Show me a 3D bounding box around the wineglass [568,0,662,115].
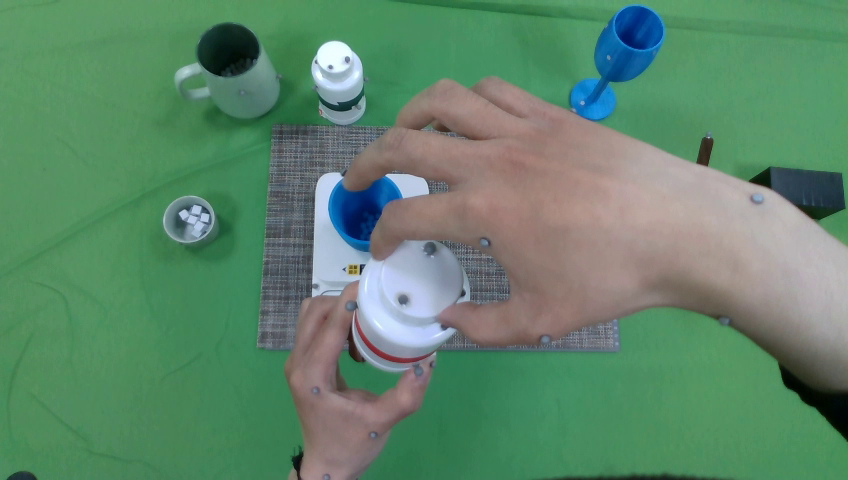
[{"bbox_3d":[0.240,-0.229,0.779,0.074,0.173,0.073,1,75,-2],"label":"wineglass"}]

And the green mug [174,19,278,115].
[{"bbox_3d":[-0.257,-0.215,0.781,0.125,0.105,0.092,-21,78,-8],"label":"green mug"}]

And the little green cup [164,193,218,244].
[{"bbox_3d":[-0.291,-0.025,0.766,0.061,0.039,0.061,1,76,-4],"label":"little green cup"}]

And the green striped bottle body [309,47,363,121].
[{"bbox_3d":[-0.112,-0.207,0.780,0.063,0.119,0.063,1,75,-3],"label":"green striped bottle body"}]

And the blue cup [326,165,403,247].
[{"bbox_3d":[-0.069,-0.031,0.714,0.093,0.100,0.092,1,78,-5],"label":"blue cup"}]

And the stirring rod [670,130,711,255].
[{"bbox_3d":[0.331,-0.054,0.755,0.014,0.177,0.006,6,35,11],"label":"stirring rod"}]

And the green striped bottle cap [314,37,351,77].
[{"bbox_3d":[-0.110,-0.221,0.729,0.044,0.020,0.044,1,75,-4],"label":"green striped bottle cap"}]

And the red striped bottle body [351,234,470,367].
[{"bbox_3d":[-0.010,0.037,0.363,0.063,0.120,0.062,3,70,-8],"label":"red striped bottle body"}]

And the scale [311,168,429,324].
[{"bbox_3d":[-0.068,0.005,0.772,0.149,0.031,0.200,0,77,-3],"label":"scale"}]

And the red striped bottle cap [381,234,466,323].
[{"bbox_3d":[0.000,0.019,0.314,0.044,0.018,0.044,1,68,-2],"label":"red striped bottle cap"}]

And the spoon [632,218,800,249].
[{"bbox_3d":[0.350,-0.003,0.743,0.022,0.192,0.041,22,79,-43],"label":"spoon"}]
